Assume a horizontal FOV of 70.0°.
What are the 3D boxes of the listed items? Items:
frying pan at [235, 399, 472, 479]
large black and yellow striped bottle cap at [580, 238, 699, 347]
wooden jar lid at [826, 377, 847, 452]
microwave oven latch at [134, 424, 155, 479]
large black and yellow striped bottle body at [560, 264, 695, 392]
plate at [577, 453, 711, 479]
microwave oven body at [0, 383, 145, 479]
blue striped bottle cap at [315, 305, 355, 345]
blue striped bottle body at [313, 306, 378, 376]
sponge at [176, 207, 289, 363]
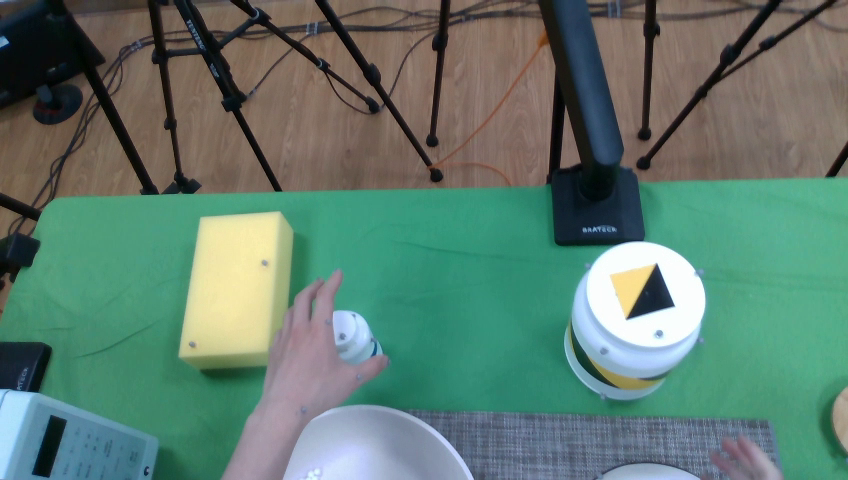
[{"bbox_3d":[-0.084,0.412,0.609,0.306,0.104,0.483,-2,55,9],"label":"frying pan"},{"bbox_3d":[0.217,0.051,0.613,0.115,0.019,0.114,-3,62,6],"label":"large black and yellow striped bottle cap"},{"bbox_3d":[0.514,0.205,0.687,0.108,0.021,0.107,-3,64,6],"label":"wooden jar lid"},{"bbox_3d":[-0.351,0.265,0.736,0.030,0.030,0.078,0,64,7],"label":"microwave oven latch"},{"bbox_3d":[0.227,0.090,0.689,0.130,0.185,0.129,-3,63,6],"label":"large black and yellow striped bottle body"},{"bbox_3d":[0.240,0.336,0.642,0.209,0.038,0.207,-3,63,6],"label":"plate"},{"bbox_3d":[-0.521,0.380,0.592,0.325,0.262,0.438,0,64,7],"label":"microwave oven body"},{"bbox_3d":[-0.104,0.099,0.705,0.044,0.021,0.044,-2,65,6],"label":"blue striped bottle cap"},{"bbox_3d":[-0.097,0.123,0.749,0.063,0.122,0.062,-3,63,6],"label":"blue striped bottle body"},{"bbox_3d":[-0.258,0.060,0.835,0.118,0.061,0.205,-5,63,5],"label":"sponge"}]
